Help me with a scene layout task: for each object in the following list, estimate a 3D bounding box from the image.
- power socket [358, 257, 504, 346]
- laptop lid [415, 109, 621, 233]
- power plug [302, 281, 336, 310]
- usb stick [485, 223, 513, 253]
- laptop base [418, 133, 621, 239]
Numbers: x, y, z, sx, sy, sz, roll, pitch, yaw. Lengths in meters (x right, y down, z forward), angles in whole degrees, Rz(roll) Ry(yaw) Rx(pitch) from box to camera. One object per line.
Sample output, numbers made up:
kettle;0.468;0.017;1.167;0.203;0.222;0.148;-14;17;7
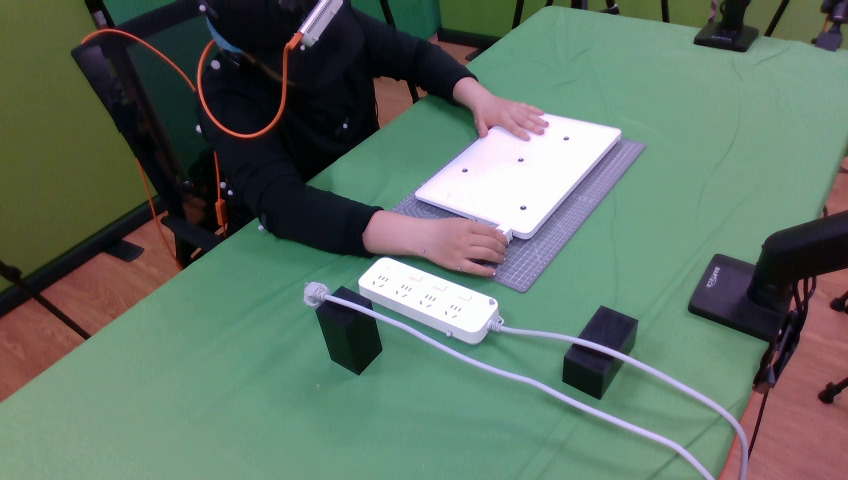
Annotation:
power socket;0.003;0.084;0.863;0.225;0.033;0.072;20;49;28
laptop lid;0.176;-0.142;1.096;0.239;0.013;0.358;22;48;33
power plug;-0.133;0.081;0.784;0.035;0.053;0.072;-44;48;-7
usb stick;0.122;-0.007;0.943;0.021;0.027;0.059;28;47;34
laptop base;0.179;-0.133;1.102;0.233;0.023;0.355;20;48;33
